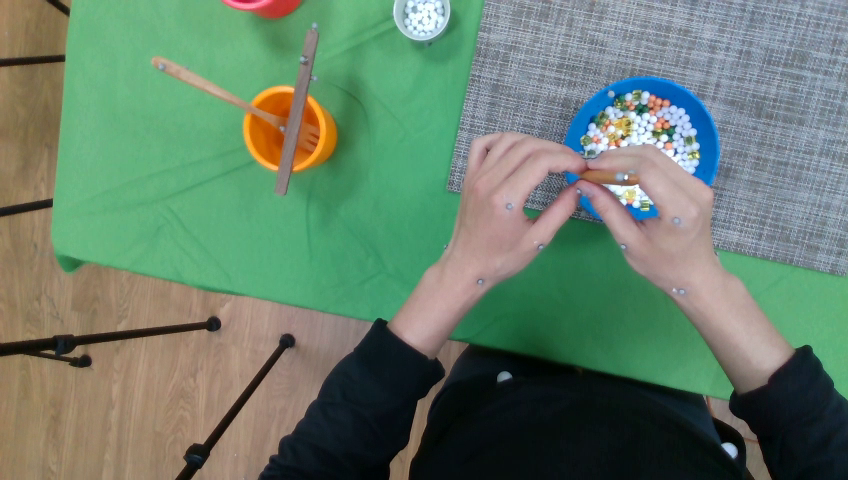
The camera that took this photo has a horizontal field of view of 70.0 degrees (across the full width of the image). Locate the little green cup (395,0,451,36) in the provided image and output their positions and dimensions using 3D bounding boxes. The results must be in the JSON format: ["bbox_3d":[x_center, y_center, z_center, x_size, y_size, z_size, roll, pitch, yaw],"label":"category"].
[{"bbox_3d":[0.001,-0.255,0.665,0.061,0.038,0.061,1,98,8],"label":"little green cup"}]

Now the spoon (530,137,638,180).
[{"bbox_3d":[0.126,-0.063,0.487,0.042,0.192,0.022,24,102,-12],"label":"spoon"}]

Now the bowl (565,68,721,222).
[{"bbox_3d":[0.220,-0.096,0.636,0.151,0.077,0.151,1,98,7],"label":"bowl"}]

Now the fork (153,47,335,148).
[{"bbox_3d":[-0.184,-0.149,0.646,0.209,0.018,0.028,23,106,-40],"label":"fork"}]

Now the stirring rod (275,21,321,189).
[{"bbox_3d":[-0.133,-0.140,0.638,0.014,0.006,0.176,15,99,4],"label":"stirring rod"}]
